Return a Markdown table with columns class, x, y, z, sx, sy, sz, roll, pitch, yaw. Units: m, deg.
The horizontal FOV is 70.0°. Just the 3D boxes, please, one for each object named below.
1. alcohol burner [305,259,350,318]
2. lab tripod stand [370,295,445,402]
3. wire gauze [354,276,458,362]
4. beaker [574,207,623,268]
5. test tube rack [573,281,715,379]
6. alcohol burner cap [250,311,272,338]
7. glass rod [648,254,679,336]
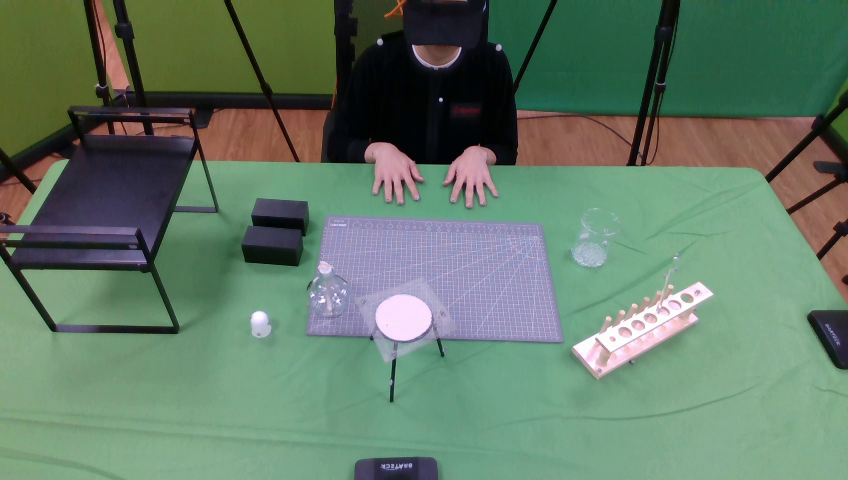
| class | x | y | z | sx | sy | sz | roll | pitch | yaw |
| --- | --- | --- | --- | --- | --- | --- | --- | --- | --- |
| alcohol burner | -0.166 | 0.078 | 1.040 | 0.078 | 0.120 | 0.077 | 1 | 44 | -1 |
| lab tripod stand | -0.036 | 0.160 | 0.959 | 0.148 | 0.132 | 0.147 | 1 | 46 | 0 |
| wire gauze | -0.029 | 0.113 | 0.912 | 0.121 | 0.011 | 0.124 | -18 | 49 | -19 |
| beaker | 0.334 | -0.003 | 1.165 | 0.084 | 0.101 | 0.073 | -18 | 50 | -21 |
| test tube rack | 0.378 | 0.140 | 1.038 | 0.242 | 0.085 | 0.066 | -22 | 51 | -22 |
| alcohol burner cap | -0.278 | 0.141 | 1.026 | 0.034 | 0.048 | 0.033 | 1 | 46 | -1 |
| glass rod | 0.391 | 0.094 | 0.991 | 0.008 | 0.201 | 0.008 | -2 | 44 | 2 |
